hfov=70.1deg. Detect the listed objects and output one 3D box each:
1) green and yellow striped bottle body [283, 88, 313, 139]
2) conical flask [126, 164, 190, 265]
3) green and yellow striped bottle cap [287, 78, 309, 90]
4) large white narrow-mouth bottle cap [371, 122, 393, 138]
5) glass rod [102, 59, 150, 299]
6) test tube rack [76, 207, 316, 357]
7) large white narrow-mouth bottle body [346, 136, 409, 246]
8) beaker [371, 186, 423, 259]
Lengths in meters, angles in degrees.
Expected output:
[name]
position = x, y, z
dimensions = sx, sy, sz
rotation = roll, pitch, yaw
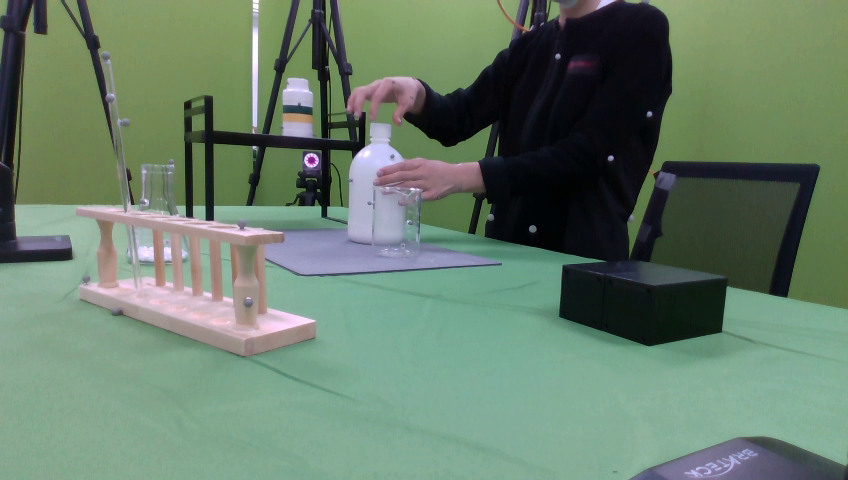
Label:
[green and yellow striped bottle body]
position = -0.266, -0.275, 1.275
dimensions = 0.063, 0.119, 0.063
rotation = 3, 7, 0
[conical flask]
position = -0.332, -0.033, 0.756
dimensions = 0.075, 0.122, 0.075
rotation = 2, 7, 0
[green and yellow striped bottle cap]
position = -0.265, -0.326, 1.268
dimensions = 0.045, 0.020, 0.045
rotation = 4, 6, 0
[large white narrow-mouth bottle cap]
position = -0.068, -0.181, 0.997
dimensions = 0.038, 0.024, 0.037
rotation = 4, 8, 0
[glass rod]
position = -0.243, -0.045, 0.496
dimensions = 0.008, 0.199, 0.008
rotation = -4, 13, 1
[test tube rack]
position = -0.196, 0.023, 0.500
dimensions = 0.241, 0.085, 0.067
rotation = 8, 9, 36
[large white narrow-mouth bottle body]
position = -0.076, -0.091, 1.011
dimensions = 0.102, 0.194, 0.102
rotation = 4, 8, 0
[beaker]
position = -0.038, -0.025, 0.868
dimensions = 0.074, 0.100, 0.083
rotation = -1, 8, -22
